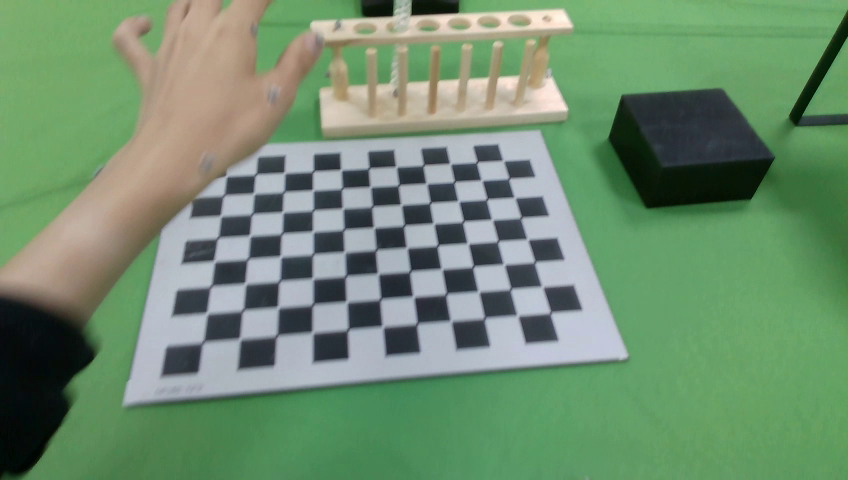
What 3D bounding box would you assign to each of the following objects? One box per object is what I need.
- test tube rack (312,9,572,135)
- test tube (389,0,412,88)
[{"bbox_3d":[0.019,-0.164,0.587,0.243,0.086,0.066,-5,49,-7],"label":"test tube rack"},{"bbox_3d":[-0.020,-0.203,0.554,0.017,0.151,0.017,4,50,-4],"label":"test tube"}]
